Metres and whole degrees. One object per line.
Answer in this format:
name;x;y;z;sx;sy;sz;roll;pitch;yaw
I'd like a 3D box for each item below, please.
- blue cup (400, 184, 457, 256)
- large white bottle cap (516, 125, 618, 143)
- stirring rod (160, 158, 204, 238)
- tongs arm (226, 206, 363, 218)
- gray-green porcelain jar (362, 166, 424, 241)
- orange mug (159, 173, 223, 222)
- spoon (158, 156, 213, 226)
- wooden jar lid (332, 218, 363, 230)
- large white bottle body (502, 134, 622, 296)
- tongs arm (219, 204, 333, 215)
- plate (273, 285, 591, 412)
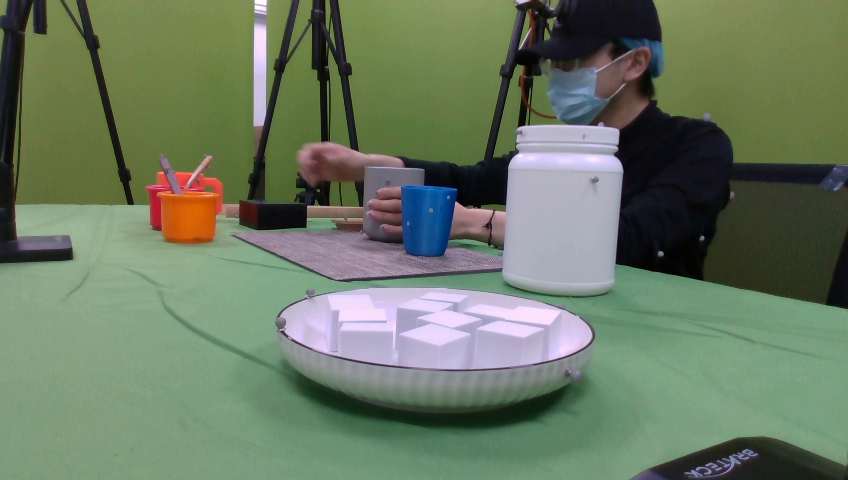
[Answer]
blue cup;0.003;-0.029;0.901;0.093;0.100;0.092;4;8;0
large white bottle cap;0.163;-0.120;0.695;0.115;0.018;0.115;2;7;0
stirring rod;-0.391;-0.070;0.972;0.014;0.006;0.175;-3;51;-48
tongs arm;-0.251;-0.062;1.360;0.387;0.026;0.050;-1;3;-31
gray-green porcelain jar;-0.054;-0.065;1.054;0.106;0.126;0.106;2;8;0
orange mug;-0.477;-0.089;1.241;0.127;0.101;0.083;-7;12;-33
spoon;-0.435;-0.094;1.121;0.041;0.022;0.193;5;51;13
wooden jar lid;-0.129;-0.032;1.204;0.108;0.020;0.108;0;6;0
large white bottle body;0.161;-0.037;0.706;0.131;0.184;0.130;2;7;0
tongs arm;-0.288;-0.069;1.435;0.389;0.027;0.028;0;-1;-17
plate;0.005;0.069;0.408;0.208;0.039;0.207;2;7;0
